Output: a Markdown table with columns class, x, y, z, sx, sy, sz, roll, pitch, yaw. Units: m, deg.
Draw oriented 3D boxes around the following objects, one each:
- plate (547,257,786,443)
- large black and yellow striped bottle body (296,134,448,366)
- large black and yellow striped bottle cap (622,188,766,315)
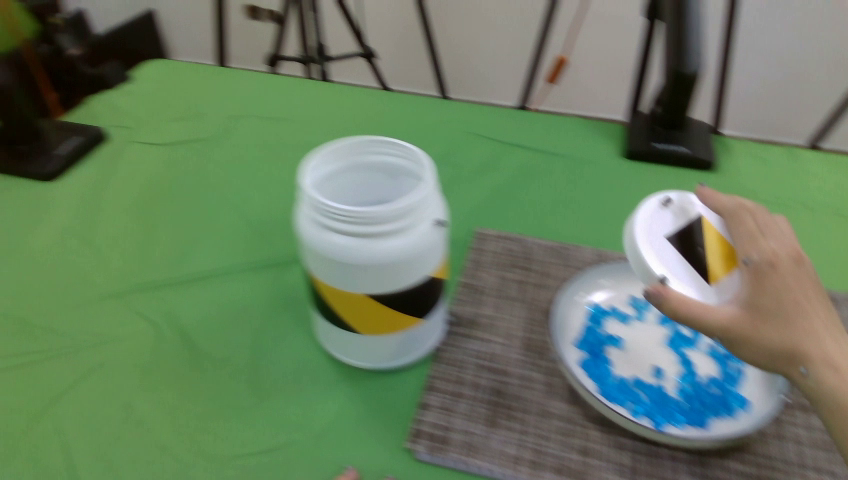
| class | x | y | z | sx | sy | sz | roll | pitch | yaw |
| --- | --- | --- | --- | --- | --- | --- | --- | --- | --- |
| plate | 0.216 | 0.098 | 0.560 | 0.208 | 0.039 | 0.205 | 1 | 41 | 0 |
| large black and yellow striped bottle body | -0.044 | 0.010 | 0.549 | 0.131 | 0.185 | 0.129 | 0 | 41 | 0 |
| large black and yellow striped bottle cap | 0.217 | 0.006 | 0.488 | 0.115 | 0.019 | 0.114 | 6 | 55 | -9 |
